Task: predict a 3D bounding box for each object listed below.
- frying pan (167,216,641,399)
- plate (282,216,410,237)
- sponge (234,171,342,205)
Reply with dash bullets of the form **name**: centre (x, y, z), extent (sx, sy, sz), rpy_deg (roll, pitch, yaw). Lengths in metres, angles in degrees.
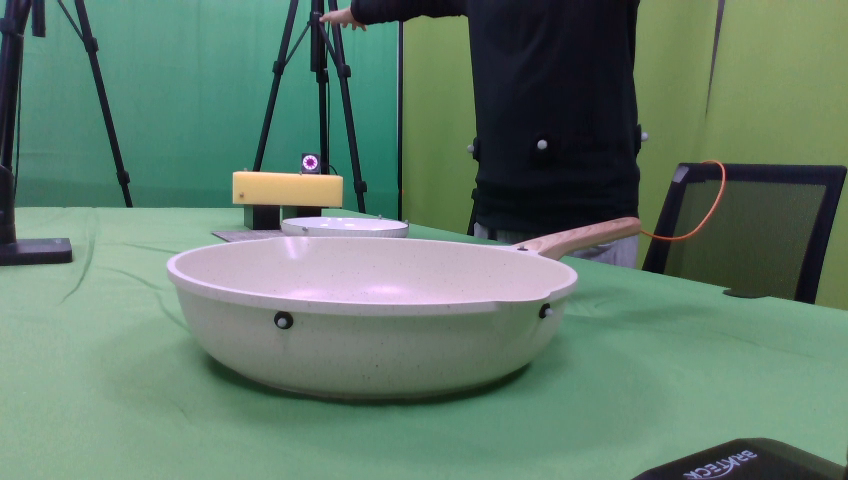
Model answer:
- **frying pan**: centre (0.046, 0.024, 0.519), extent (0.490, 0.102, 0.305), rpy_deg (-13, 16, -37)
- **plate**: centre (-0.126, -0.012, 0.986), extent (0.208, 0.039, 0.207), rpy_deg (2, 7, 0)
- **sponge**: centre (-0.272, -0.105, 1.223), extent (0.207, 0.061, 0.118), rpy_deg (0, 7, -14)
